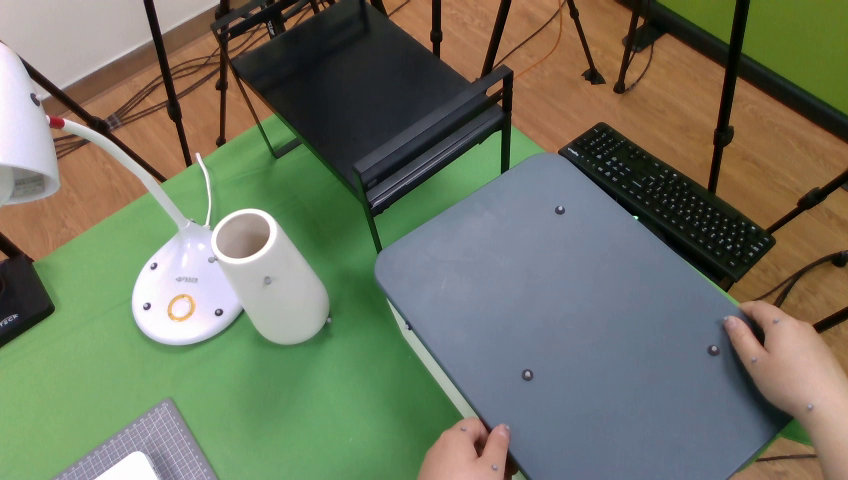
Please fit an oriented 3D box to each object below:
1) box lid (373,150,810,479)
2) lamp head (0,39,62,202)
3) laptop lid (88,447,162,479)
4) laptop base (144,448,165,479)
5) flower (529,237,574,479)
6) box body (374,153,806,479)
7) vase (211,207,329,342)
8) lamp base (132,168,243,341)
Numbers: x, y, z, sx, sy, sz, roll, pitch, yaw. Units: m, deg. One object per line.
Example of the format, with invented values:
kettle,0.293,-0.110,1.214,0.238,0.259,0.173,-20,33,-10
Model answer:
box lid,0.144,0.076,0.590,0.263,0.015,0.368,-33,62,-15
lamp head,-0.346,-0.096,0.468,0.112,0.113,0.122,-10,76,0
laptop lid,-0.389,0.407,0.599,0.356,0.013,0.239,-35,64,-15
laptop base,-0.389,0.411,0.610,0.354,0.023,0.233,-36,66,-16
flower,0.157,0.157,0.704,0.044,0.038,0.358,-18,55,28
box body,0.152,0.116,0.654,0.254,0.162,0.360,-34,62,-14
vase,-0.178,0.044,0.708,0.098,0.202,0.097,-3,58,6
lamp base,-0.318,0.010,0.753,0.160,0.182,0.177,-7,56,1
